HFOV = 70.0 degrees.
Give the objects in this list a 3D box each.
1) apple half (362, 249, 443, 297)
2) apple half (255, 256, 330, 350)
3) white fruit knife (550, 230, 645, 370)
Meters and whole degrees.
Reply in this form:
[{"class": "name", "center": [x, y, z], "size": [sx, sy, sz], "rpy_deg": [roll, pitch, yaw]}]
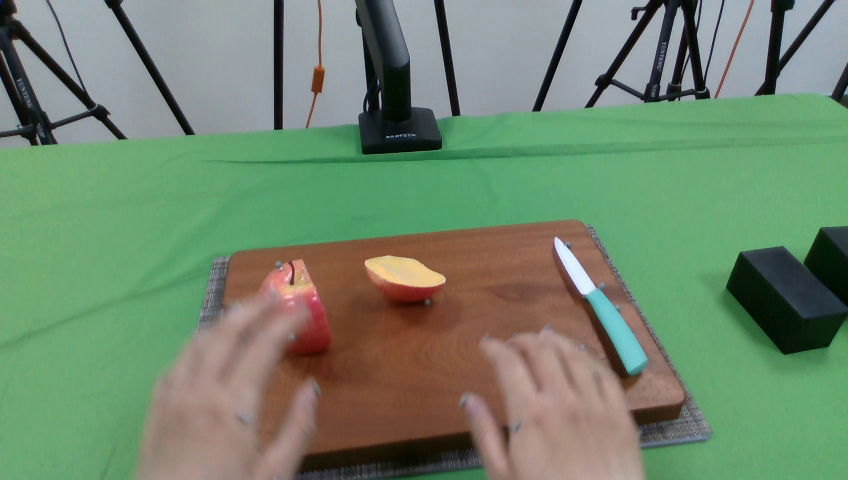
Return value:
[{"class": "apple half", "center": [-0.026, 0.038, 0.590], "size": [0.081, 0.033, 0.081], "rpy_deg": [14, 18, -4]}, {"class": "apple half", "center": [-0.120, 0.061, 0.538], "size": [0.053, 0.075, 0.080], "rpy_deg": [-20, 46, -16]}, {"class": "white fruit knife", "center": [0.164, 0.048, 0.595], "size": [0.027, 0.016, 0.205], "rpy_deg": [5, 35, -17]}]
